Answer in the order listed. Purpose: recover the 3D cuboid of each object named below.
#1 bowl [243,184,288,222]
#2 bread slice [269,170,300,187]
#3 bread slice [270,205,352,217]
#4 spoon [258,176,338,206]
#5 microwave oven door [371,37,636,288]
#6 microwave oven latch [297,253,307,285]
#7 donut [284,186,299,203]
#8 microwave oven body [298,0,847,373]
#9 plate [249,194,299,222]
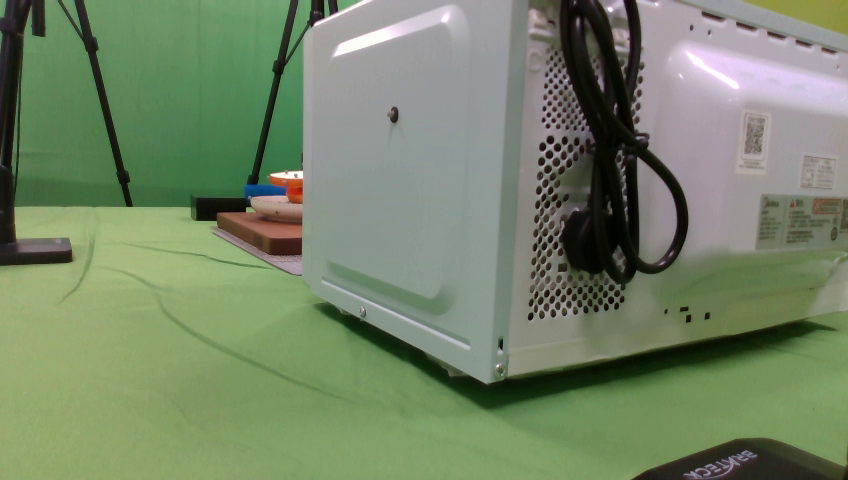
[{"bbox_3d":[-0.321,-0.081,1.333,0.151,0.077,0.151,3,7,0],"label":"bowl"},{"bbox_3d":[-0.213,-0.115,1.112,0.106,0.018,0.135,9,16,38],"label":"bread slice"},{"bbox_3d":[-0.213,-0.054,1.116,0.104,0.019,0.132,6,5,41],"label":"bread slice"},{"bbox_3d":[-0.279,-0.112,1.356,0.194,0.021,0.041,-28,18,-27],"label":"spoon"},{"bbox_3d":[0.109,-0.080,0.686,0.358,0.243,0.039,-2,9,-33],"label":"microwave oven door"},{"bbox_3d":[-0.082,0.027,0.582,0.079,0.029,0.030,-1,7,-32],"label":"microwave oven latch"},{"bbox_3d":[-0.210,-0.087,1.124,0.099,0.048,0.099,3,0,0],"label":"donut"},{"bbox_3d":[0.151,-0.055,0.543,0.444,0.260,0.324,-1,8,-33],"label":"microwave oven body"},{"bbox_3d":[-0.217,-0.058,1.122,0.208,0.039,0.207,3,7,0],"label":"plate"}]
